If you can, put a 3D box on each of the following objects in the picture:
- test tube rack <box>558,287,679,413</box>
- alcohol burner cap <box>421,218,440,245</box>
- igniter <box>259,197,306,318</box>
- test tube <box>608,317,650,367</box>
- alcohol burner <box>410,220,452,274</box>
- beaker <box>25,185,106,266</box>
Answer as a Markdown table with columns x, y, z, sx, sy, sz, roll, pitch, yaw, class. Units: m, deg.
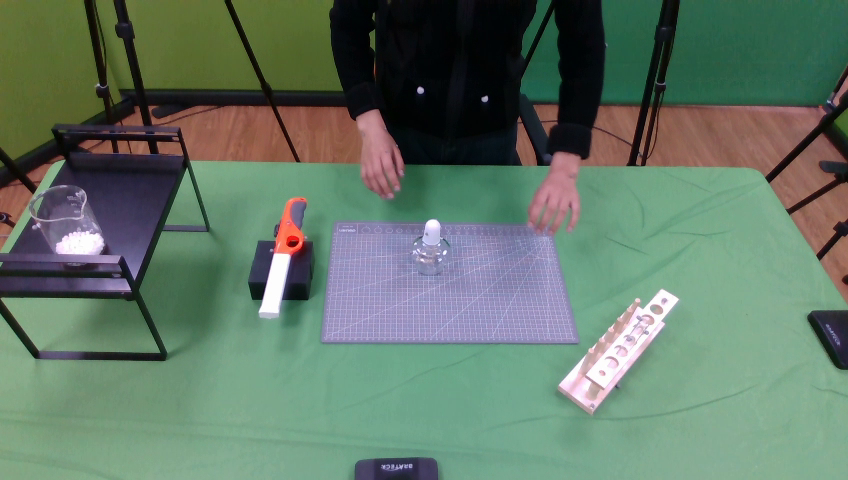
| x | y | z | sx | sy | sz | roll | pitch | yaw | class |
| --- | --- | --- | --- | --- | --- | --- | --- | --- | --- |
| 0.326 | 0.170 | 1.009 | 0.066 | 0.085 | 0.242 | 36 | 54 | 26 | test tube rack |
| 0.014 | -0.018 | 1.095 | 0.034 | 0.048 | 0.033 | 5 | 44 | -4 | alcohol burner cap |
| -0.252 | 0.021 | 1.088 | 0.057 | 0.025 | 0.275 | 4 | 48 | -2 | igniter |
| 0.314 | 0.168 | 0.942 | 0.017 | 0.151 | 0.017 | 5 | 48 | -5 | test tube |
| 0.013 | 0.007 | 1.120 | 0.078 | 0.120 | 0.077 | 1 | 48 | -1 | alcohol burner |
| -0.507 | -0.017 | 0.872 | 0.084 | 0.101 | 0.074 | 23 | 49 | 17 | beaker |
